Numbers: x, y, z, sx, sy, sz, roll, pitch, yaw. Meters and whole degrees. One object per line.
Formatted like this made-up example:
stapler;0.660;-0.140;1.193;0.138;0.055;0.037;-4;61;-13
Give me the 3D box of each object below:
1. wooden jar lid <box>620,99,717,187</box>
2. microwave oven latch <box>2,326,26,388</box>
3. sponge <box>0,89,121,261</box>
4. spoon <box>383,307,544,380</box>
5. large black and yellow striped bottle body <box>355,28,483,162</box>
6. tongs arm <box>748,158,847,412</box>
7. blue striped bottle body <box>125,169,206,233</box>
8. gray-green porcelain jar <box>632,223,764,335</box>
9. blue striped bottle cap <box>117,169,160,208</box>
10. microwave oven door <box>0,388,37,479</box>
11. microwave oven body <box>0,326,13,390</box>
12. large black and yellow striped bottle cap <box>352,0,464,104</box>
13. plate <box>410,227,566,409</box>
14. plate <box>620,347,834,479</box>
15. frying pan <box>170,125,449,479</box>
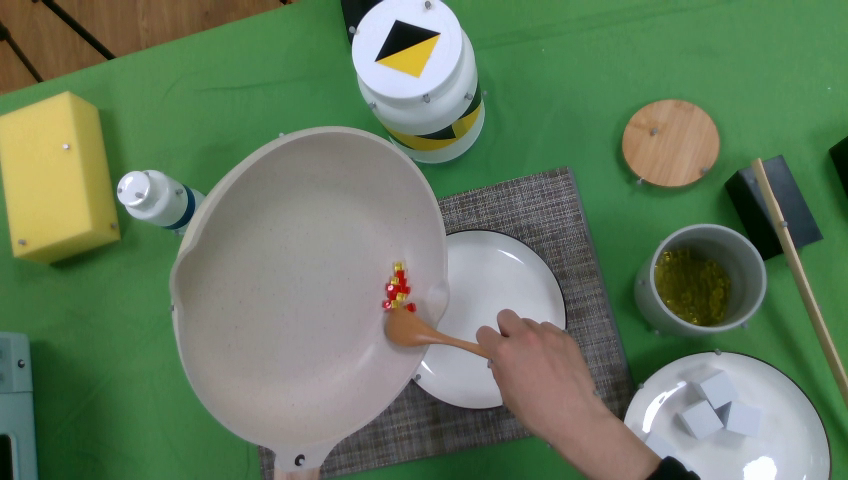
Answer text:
wooden jar lid;0.288;-0.114;0.720;0.108;0.021;0.108;-2;81;10
microwave oven latch;-0.537;0.152;0.785;0.030;0.029;0.079;-10;79;7
sponge;-0.504;-0.087;0.831;0.118;0.061;0.205;-19;78;6
spoon;0.033;0.105;0.610;0.192;0.022;0.041;12;92;30
large black and yellow striped bottle body;-0.003;-0.179;0.699;0.130;0.185;0.130;-2;78;10
tongs arm;0.425;0.089;0.621;0.051;0.026;0.384;-19;87;4
blue striped bottle body;-0.327;-0.050;0.763;0.063;0.121;0.063;-2;79;10
gray-green porcelain jar;0.279;0.046;0.637;0.105;0.127;0.105;-2;79;10
blue striped bottle cap;-0.337;-0.061;0.714;0.044;0.021;0.044;-1;81;9
microwave oven door;-0.513;0.342;0.641;0.039;0.245;0.354;-14;77;8
microwave oven body;-0.661;0.336;0.673;0.326;0.261;0.439;-13;78;7
large black and yellow striped bottle cap;-0.017;-0.196;0.617;0.115;0.019;0.114;-2;81;10
plate;0.060;0.089;0.709;0.209;0.038;0.208;-2;79;10
plate;0.315;0.219;0.646;0.207;0.039;0.206;-2;79;10
frying pan;-0.109;0.144;0.556;0.102;0.309;0.486;1;82;43
